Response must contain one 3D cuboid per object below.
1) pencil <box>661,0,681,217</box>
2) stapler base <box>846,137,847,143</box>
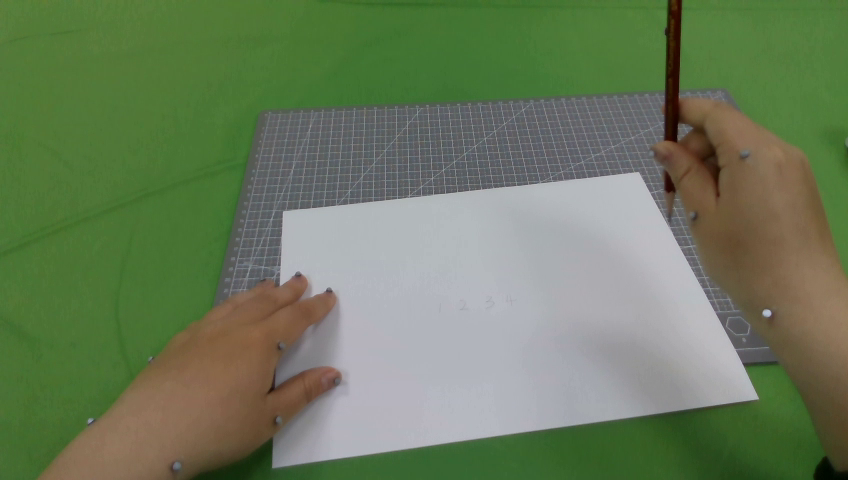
[{"bbox_3d":[0.137,-0.105,0.333,0.012,0.195,0.012,-6,20,2],"label":"pencil"},{"bbox_3d":[0.396,-0.053,0.487,0.041,0.024,0.129,-8,50,-2],"label":"stapler base"}]
